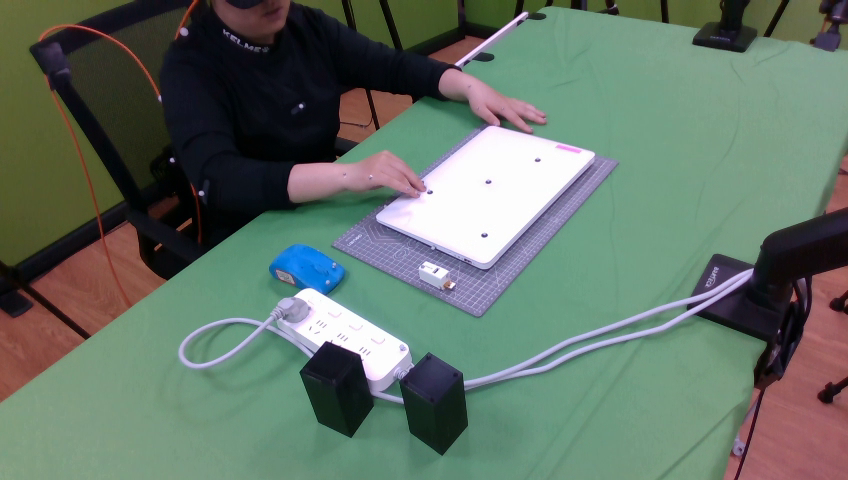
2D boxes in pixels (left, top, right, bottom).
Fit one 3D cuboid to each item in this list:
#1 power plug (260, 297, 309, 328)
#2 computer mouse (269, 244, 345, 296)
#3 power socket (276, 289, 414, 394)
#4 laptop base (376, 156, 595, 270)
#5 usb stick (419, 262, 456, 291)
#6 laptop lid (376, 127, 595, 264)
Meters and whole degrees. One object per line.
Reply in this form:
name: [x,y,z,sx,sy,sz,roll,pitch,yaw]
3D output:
power plug: [-0.192,0.107,0.831,0.073,0.053,0.035,-32,43,-24]
computer mouse: [-0.182,0.044,0.933,0.116,0.041,0.063,23,47,25]
power socket: [-0.114,0.133,0.821,0.225,0.033,0.072,25,49,33]
laptop base: [0.115,-0.086,1.056,0.233,0.023,0.355,21,48,34]
usb stick: [0.021,0.056,0.892,0.058,0.027,0.021,25,47,30]
laptop lid: [0.112,-0.096,1.051,0.239,0.013,0.358,24,49,35]
